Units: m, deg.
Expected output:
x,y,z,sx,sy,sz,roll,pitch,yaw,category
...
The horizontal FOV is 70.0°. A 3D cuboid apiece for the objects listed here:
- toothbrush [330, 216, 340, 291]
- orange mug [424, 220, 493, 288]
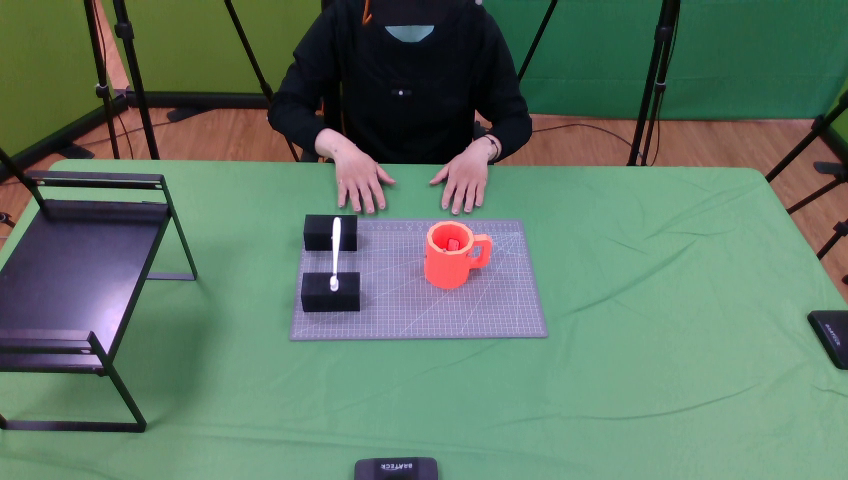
x,y,z,sx,sy,sz,roll,pitch,yaw,category
-0.161,0.019,1.094,0.014,0.017,0.180,-12,45,6,toothbrush
0.064,0.023,1.119,0.126,0.101,0.083,-9,47,-7,orange mug
